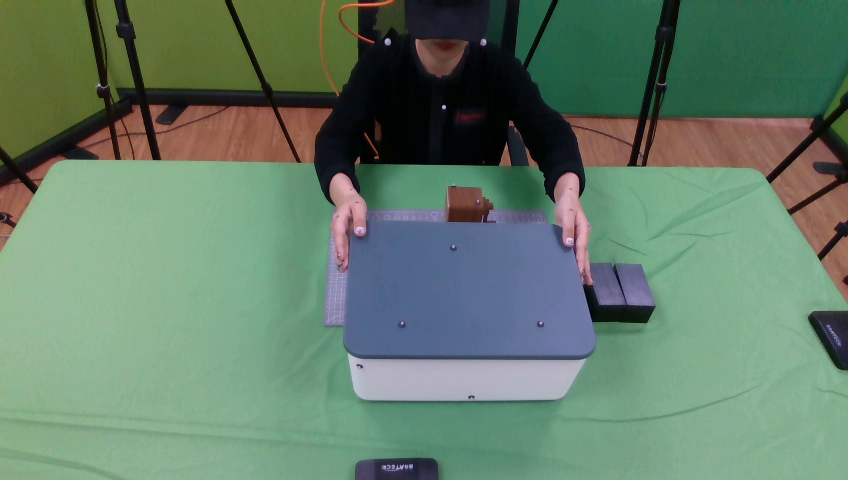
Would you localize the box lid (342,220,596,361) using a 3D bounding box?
[{"bbox_3d":[0.066,0.069,0.933,0.372,0.015,0.261,1,48,-4],"label":"box lid"}]

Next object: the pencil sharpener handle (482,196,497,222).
[{"bbox_3d":[0.130,-0.056,1.182,0.031,0.068,0.036,2,43,-3],"label":"pencil sharpener handle"}]

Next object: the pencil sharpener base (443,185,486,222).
[{"bbox_3d":[0.078,-0.049,1.188,0.077,0.107,0.061,2,46,-3],"label":"pencil sharpener base"}]

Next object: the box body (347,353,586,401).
[{"bbox_3d":[0.060,0.120,0.988,0.364,0.161,0.252,1,47,-4],"label":"box body"}]
